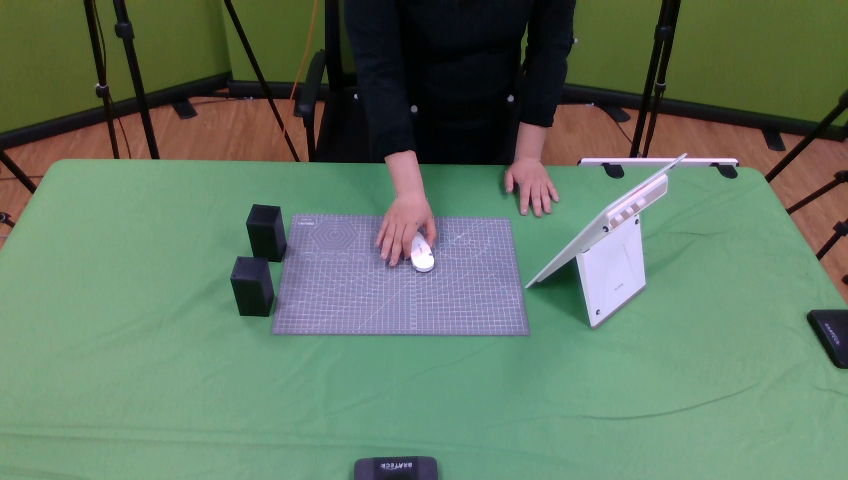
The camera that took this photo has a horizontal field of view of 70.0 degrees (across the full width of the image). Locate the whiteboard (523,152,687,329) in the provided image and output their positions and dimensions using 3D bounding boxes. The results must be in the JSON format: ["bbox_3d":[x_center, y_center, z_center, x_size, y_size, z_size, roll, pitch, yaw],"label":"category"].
[{"bbox_3d":[0.347,0.025,1.046,0.217,0.306,0.143,-30,74,-29],"label":"whiteboard"}]

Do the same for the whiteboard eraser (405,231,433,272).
[{"bbox_3d":[-0.010,0.022,1.173,0.041,0.019,0.100,-8,46,-12],"label":"whiteboard eraser"}]
